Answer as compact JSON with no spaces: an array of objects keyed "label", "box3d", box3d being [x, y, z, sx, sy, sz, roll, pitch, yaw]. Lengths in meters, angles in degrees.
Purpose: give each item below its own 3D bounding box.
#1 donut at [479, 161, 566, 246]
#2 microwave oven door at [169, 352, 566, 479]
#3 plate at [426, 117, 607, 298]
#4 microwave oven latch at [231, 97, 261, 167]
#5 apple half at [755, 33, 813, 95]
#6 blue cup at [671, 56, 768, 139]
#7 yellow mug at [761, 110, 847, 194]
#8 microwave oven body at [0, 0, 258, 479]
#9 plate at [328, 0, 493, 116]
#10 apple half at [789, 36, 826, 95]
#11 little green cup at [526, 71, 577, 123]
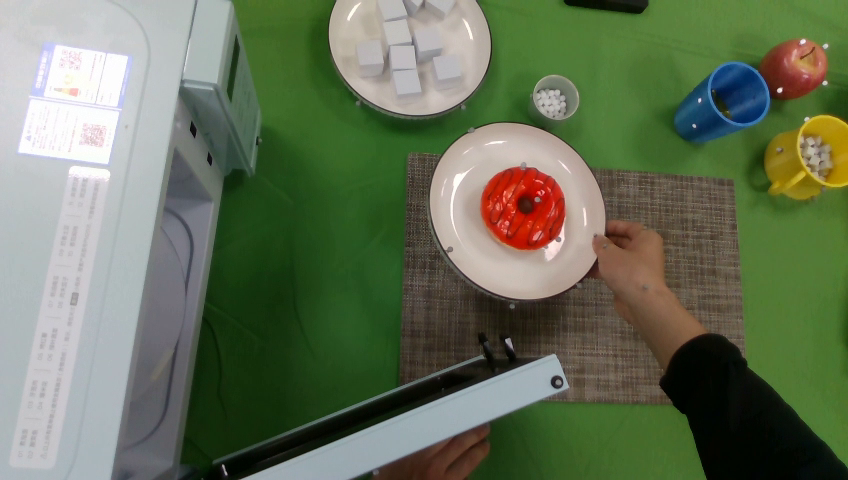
[{"label":"donut","box3d":[0.109,-0.040,0.671,0.099,0.048,0.098,2,76,-9]},{"label":"microwave oven door","box3d":[-0.070,0.180,0.563,0.356,0.244,0.039,-19,82,-12]},{"label":"plate","box3d":[0.102,-0.036,0.679,0.210,0.038,0.208,3,75,-11]},{"label":"microwave oven latch","box3d":[-0.207,-0.127,0.700,0.030,0.029,0.079,8,79,-8]},{"label":"apple half","box3d":[0.490,-0.243,0.837,0.053,0.075,0.080,8,81,-4]},{"label":"blue cup","box3d":[0.376,-0.177,0.791,0.093,0.100,0.092,2,81,-9]},{"label":"yellow mug","box3d":[0.513,-0.109,0.819,0.131,0.064,0.100,-39,88,-13]},{"label":"microwave oven body","box3d":[-0.353,0.011,0.552,0.327,0.260,0.440,6,79,-8]},{"label":"plate","box3d":[-0.017,-0.253,0.773,0.208,0.039,0.206,2,79,-9]},{"label":"apple half","box3d":[0.529,-0.238,0.840,0.033,0.081,0.081,9,78,-4]},{"label":"little green cup","box3d":[0.164,-0.183,0.790,0.062,0.038,0.061,2,79,-9]}]
